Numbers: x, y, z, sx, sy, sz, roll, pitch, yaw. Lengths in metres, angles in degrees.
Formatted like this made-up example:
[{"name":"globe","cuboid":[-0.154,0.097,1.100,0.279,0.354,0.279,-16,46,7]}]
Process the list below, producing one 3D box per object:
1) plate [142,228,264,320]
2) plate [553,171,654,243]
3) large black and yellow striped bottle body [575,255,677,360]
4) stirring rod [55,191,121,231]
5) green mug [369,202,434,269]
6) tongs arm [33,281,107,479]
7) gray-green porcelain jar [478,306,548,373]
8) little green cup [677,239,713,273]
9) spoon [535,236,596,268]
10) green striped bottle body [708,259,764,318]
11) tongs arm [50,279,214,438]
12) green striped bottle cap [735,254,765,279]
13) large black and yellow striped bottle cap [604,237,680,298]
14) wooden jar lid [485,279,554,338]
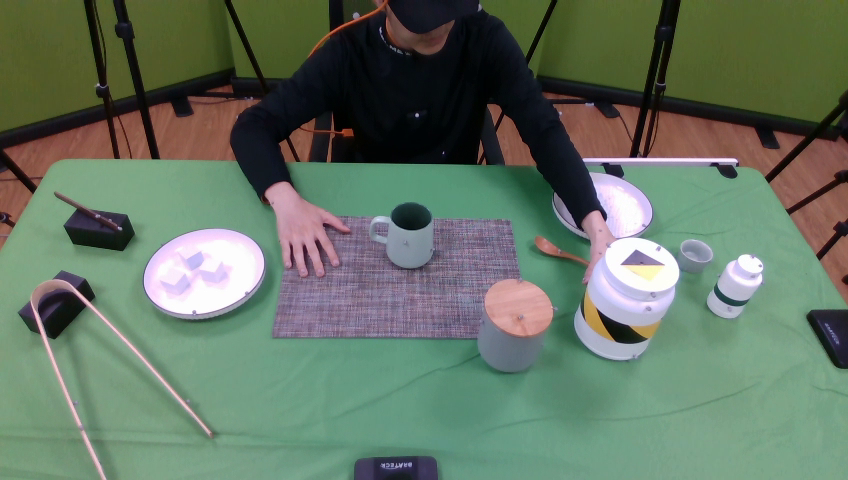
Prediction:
[{"name":"plate","cuboid":[-0.394,0.064,1.095,0.208,0.039,0.206,2,46,-2]},{"name":"plate","cuboid":[0.373,-0.066,1.274,0.209,0.038,0.208,2,46,-2]},{"name":"large black and yellow striped bottle body","cuboid":[0.336,0.099,1.010,0.131,0.185,0.130,2,46,-2]},{"name":"stirring rod","cuboid":[-0.632,-0.055,1.138,0.175,0.014,0.006,24,50,19]},{"name":"green mug","cuboid":[-0.043,-0.010,1.140,0.125,0.105,0.092,8,46,4]},{"name":"tongs arm","cuboid":[-0.517,0.214,0.909,0.051,0.026,0.383,-29,63,-26]},{"name":"gray-green porcelain jar","cuboid":[0.144,0.148,0.988,0.106,0.127,0.105,1,50,-2]},{"name":"little green cup","cuboid":[0.530,0.033,1.189,0.061,0.039,0.061,2,47,-2]},{"name":"spoon","cuboid":[0.303,0.040,1.178,0.193,0.022,0.041,25,33,20]},{"name":"green striped bottle body","cuboid":[0.563,0.081,1.089,0.063,0.120,0.063,2,46,-2]},{"name":"tongs arm","cuboid":[-0.459,0.178,0.949,0.386,0.028,0.028,37,60,17]},{"name":"green striped bottle cap","cuboid":[0.566,0.046,1.051,0.044,0.020,0.044,0,45,0]},{"name":"large black and yellow striped bottle cap","cuboid":[0.342,0.041,0.952,0.115,0.019,0.114,2,47,-2]},{"name":"wooden jar lid","cuboid":[0.147,0.108,0.940,0.108,0.021,0.107,4,47,-4]}]
